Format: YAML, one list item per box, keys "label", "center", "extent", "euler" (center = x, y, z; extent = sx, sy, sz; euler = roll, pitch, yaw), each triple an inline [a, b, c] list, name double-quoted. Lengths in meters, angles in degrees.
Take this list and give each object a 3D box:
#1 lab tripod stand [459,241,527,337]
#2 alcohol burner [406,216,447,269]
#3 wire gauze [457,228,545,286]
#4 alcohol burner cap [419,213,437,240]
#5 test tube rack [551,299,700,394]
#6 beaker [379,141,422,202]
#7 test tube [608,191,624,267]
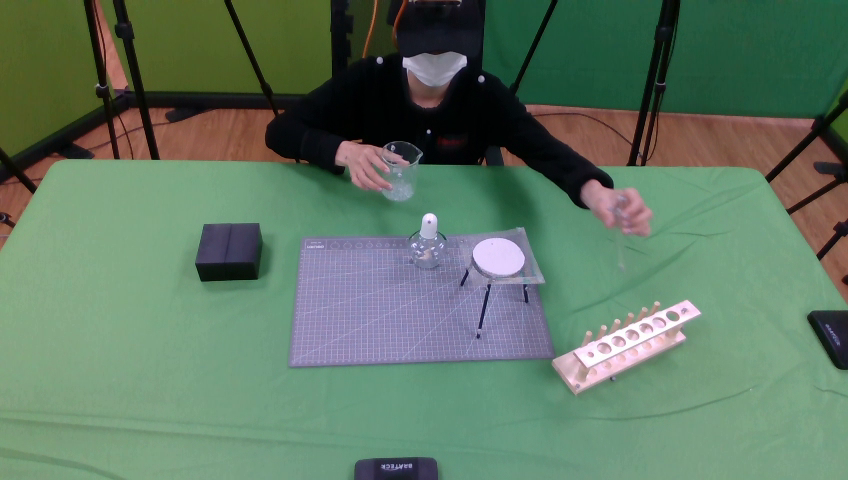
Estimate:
- label: "lab tripod stand"
  center: [0.122, 0.075, 1.054]
  extent: [0.148, 0.132, 0.147]
  euler: [3, 44, -3]
- label: "alcohol burner"
  center: [0.006, -0.003, 1.134]
  extent: [0.078, 0.120, 0.077]
  euler: [2, 48, -2]
- label: "wire gauze"
  center: [0.126, 0.029, 1.006]
  extent: [0.125, 0.011, 0.120]
  euler: [-4, 46, -9]
- label: "alcohol burner cap"
  center: [0.009, -0.027, 1.109]
  extent: [0.034, 0.048, 0.033]
  euler: [3, 44, -3]
- label: "test tube rack"
  center: [0.339, 0.166, 1.021]
  extent: [0.242, 0.085, 0.066]
  euler: [-19, 50, -21]
- label: "beaker"
  center: [-0.048, -0.130, 1.177]
  extent: [0.084, 0.101, 0.073]
  euler: [-10, 51, -16]
- label: "test tube"
  center: [0.300, -0.015, 0.944]
  extent: [0.017, 0.151, 0.017]
  euler: [-12, 39, 10]
